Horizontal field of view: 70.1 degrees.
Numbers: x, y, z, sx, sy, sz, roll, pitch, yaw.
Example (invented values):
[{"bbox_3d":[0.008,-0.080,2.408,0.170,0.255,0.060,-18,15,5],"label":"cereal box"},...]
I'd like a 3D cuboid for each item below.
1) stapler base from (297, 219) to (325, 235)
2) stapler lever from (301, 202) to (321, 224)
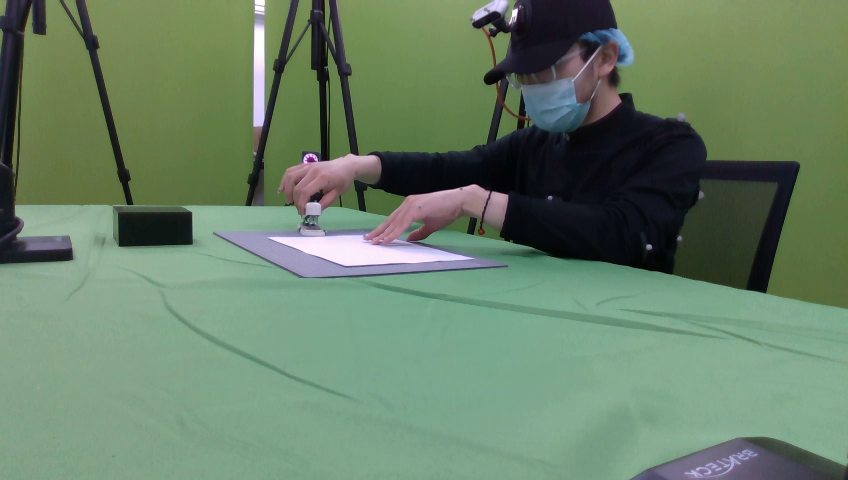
[{"bbox_3d":[-0.210,-0.027,1.120,0.041,0.024,0.130,2,5,-16],"label":"stapler base"},{"bbox_3d":[-0.210,-0.052,1.119,0.027,0.040,0.117,2,5,-16],"label":"stapler lever"}]
